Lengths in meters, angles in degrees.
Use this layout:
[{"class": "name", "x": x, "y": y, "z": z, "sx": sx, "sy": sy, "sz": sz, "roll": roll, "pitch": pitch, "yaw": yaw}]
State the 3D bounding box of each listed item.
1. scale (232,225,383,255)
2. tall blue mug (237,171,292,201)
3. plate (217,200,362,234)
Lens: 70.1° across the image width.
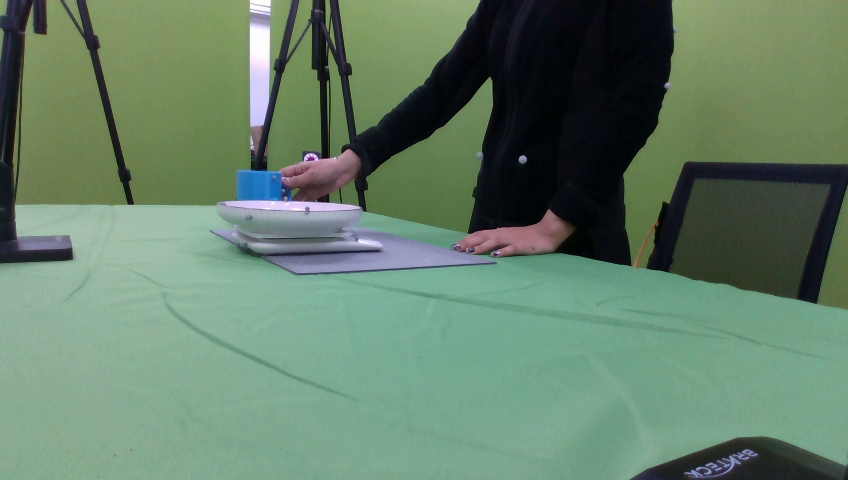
[{"class": "scale", "x": -0.177, "y": -0.004, "z": 0.920, "sx": 0.202, "sy": 0.031, "sz": 0.148, "roll": -1, "pitch": 9, "yaw": -30}, {"class": "tall blue mug", "x": -0.291, "y": -0.070, "z": 1.092, "sx": 0.078, "sy": 0.108, "sz": 0.107, "roll": 2, "pitch": 7, "yaw": 4}, {"class": "plate", "x": -0.196, "y": -0.034, "z": 0.894, "sx": 0.209, "sy": 0.038, "sz": 0.209, "roll": 2, "pitch": 7, "yaw": 0}]
